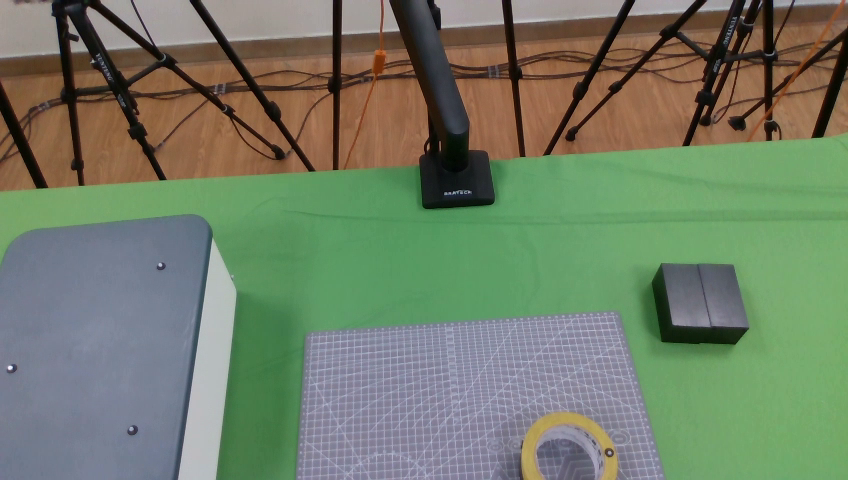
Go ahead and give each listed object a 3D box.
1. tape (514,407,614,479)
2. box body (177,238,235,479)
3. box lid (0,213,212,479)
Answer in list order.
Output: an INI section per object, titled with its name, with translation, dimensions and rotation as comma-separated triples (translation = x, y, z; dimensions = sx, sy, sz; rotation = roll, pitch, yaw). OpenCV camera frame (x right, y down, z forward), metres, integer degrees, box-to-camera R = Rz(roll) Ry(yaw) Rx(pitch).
[tape]
translation = 0.168, 0.263, 0.727
dimensions = 0.117, 0.053, 0.115
rotation = -1, 55, 2
[box body]
translation = -0.388, 0.169, 0.750
dimensions = 0.254, 0.162, 0.360
rotation = -5, 55, -2
[box lid]
translation = -0.390, 0.124, 0.690
dimensions = 0.263, 0.015, 0.367
rotation = -5, 56, -2
